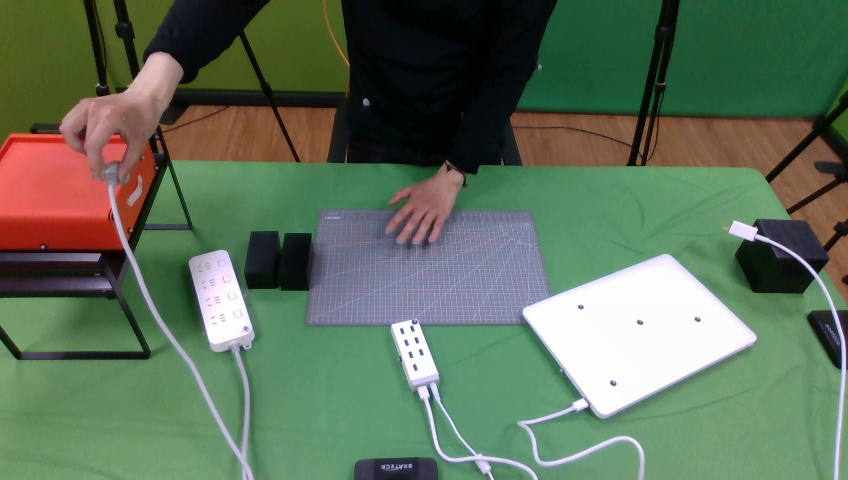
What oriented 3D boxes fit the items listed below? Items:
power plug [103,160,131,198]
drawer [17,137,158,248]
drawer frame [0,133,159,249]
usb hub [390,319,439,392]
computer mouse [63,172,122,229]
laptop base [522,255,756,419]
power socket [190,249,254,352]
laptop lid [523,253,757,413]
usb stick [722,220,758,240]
[{"bbox_3d":[-0.436,-0.080,0.847,0.035,0.053,0.072,15,58,-9],"label":"power plug"},{"bbox_3d":[-0.549,-0.079,0.944,0.212,0.073,0.193,0,47,-3],"label":"drawer"},{"bbox_3d":[-0.553,-0.078,0.942,0.214,0.083,0.200,-1,47,-4],"label":"drawer frame"},{"bbox_3d":[-0.016,0.190,1.013,0.049,0.025,0.124,-11,48,-15],"label":"usb hub"},{"bbox_3d":[-0.522,-0.066,0.955,0.063,0.041,0.116,0,48,-9],"label":"computer mouse"},{"bbox_3d":[0.380,0.157,1.080,0.355,0.023,0.234,-18,48,-21],"label":"laptop base"},{"bbox_3d":[-0.358,0.101,1.067,0.072,0.033,0.225,-16,50,-18],"label":"power socket"},{"bbox_3d":[0.380,0.147,1.073,0.357,0.013,0.240,-17,48,-19],"label":"laptop lid"},{"bbox_3d":[0.593,-0.021,1.139,0.059,0.027,0.021,21,12,29],"label":"usb stick"}]
